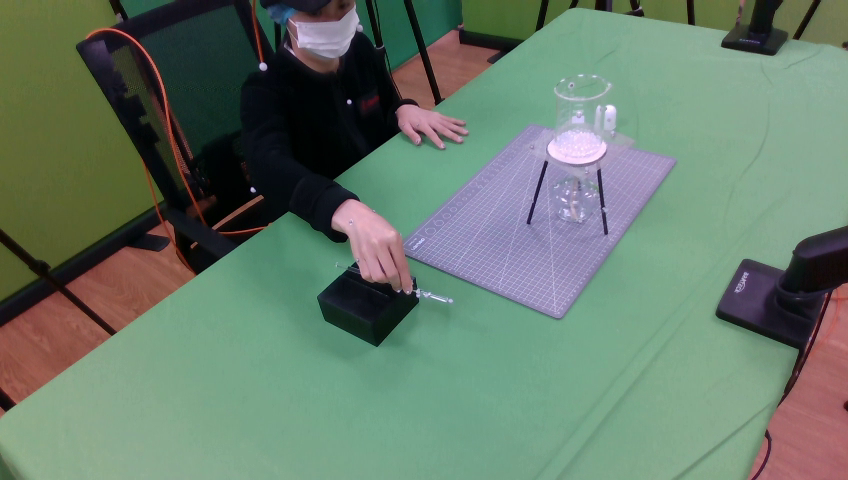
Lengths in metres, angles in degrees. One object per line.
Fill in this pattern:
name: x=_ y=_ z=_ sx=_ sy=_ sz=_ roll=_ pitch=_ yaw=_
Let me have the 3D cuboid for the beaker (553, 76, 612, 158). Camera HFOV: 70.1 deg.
beaker: x=0.230 y=-0.178 z=0.882 sx=0.084 sy=0.101 sz=0.073 roll=-9 pitch=41 yaw=1

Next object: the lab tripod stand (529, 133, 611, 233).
lab tripod stand: x=0.236 y=-0.089 z=0.953 sx=0.148 sy=0.132 sz=0.147 roll=-5 pitch=41 yaw=5

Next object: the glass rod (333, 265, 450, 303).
glass rod: x=-0.050 y=0.060 z=0.840 sx=0.198 sy=0.008 sz=0.008 roll=14 pitch=44 yaw=29

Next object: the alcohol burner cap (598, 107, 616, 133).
alcohol burner cap: x=0.361 y=-0.239 z=1.189 sx=0.034 sy=0.048 sz=0.033 roll=-4 pitch=40 yaw=4

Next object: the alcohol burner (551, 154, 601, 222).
alcohol burner: x=0.244 y=-0.087 z=0.966 sx=0.078 sy=0.119 sz=0.077 roll=-3 pitch=40 yaw=3

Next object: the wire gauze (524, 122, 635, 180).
wire gauze: x=0.233 y=-0.142 z=0.913 sx=0.122 sy=0.011 sz=0.124 roll=-31 pitch=43 yaw=-26
